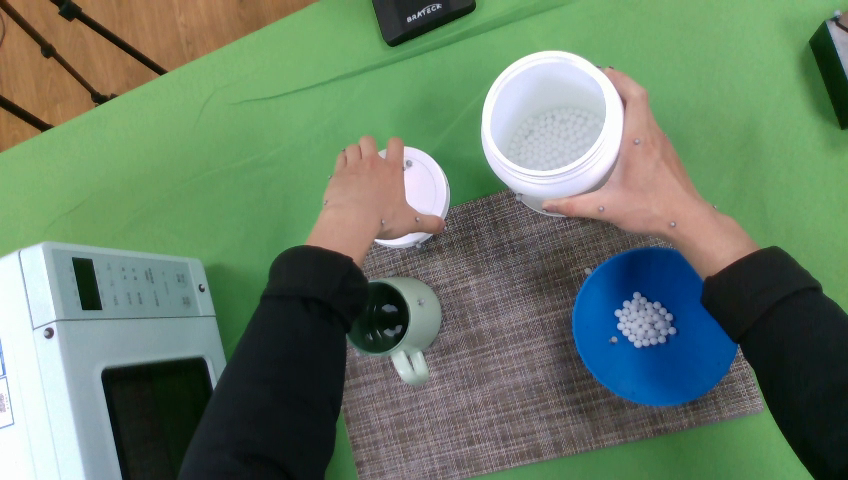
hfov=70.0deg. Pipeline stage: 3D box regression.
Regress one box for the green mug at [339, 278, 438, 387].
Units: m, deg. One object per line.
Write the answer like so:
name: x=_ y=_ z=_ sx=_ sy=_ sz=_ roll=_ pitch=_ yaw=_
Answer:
green mug: x=-0.031 y=0.102 z=0.668 sx=0.092 sy=0.105 sz=0.124 roll=-27 pitch=78 yaw=12

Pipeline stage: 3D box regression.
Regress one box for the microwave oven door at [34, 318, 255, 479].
microwave oven door: x=-0.264 y=0.259 z=0.636 sx=0.039 sy=0.245 sz=0.354 roll=-21 pitch=79 yaw=14

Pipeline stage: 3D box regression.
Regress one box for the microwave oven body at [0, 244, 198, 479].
microwave oven body: x=-0.408 y=0.268 z=0.683 sx=0.326 sy=0.261 sz=0.440 roll=-20 pitch=80 yaw=13

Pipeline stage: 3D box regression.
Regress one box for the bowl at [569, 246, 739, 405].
bowl: x=0.225 y=0.084 z=0.608 sx=0.151 sy=0.077 sz=0.151 roll=-2 pitch=84 yaw=17

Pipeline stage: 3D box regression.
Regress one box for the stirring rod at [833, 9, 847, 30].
stirring rod: x=0.452 y=-0.159 z=0.548 sx=0.175 sy=0.006 sz=0.014 roll=41 pitch=131 yaw=15

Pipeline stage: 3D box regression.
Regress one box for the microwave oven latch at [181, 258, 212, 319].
microwave oven latch: x=-0.296 y=0.063 z=0.769 sx=0.030 sy=0.029 sz=0.079 roll=-20 pitch=81 yaw=13

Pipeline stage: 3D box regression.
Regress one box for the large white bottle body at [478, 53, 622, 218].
large white bottle body: x=0.126 y=-0.097 z=0.597 sx=0.130 sy=0.185 sz=0.130 roll=-2 pitch=84 yaw=17

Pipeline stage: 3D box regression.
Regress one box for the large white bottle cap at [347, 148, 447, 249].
large white bottle cap: x=-0.031 y=-0.047 z=0.682 sx=0.114 sy=0.018 sz=0.114 roll=-2 pitch=80 yaw=14
